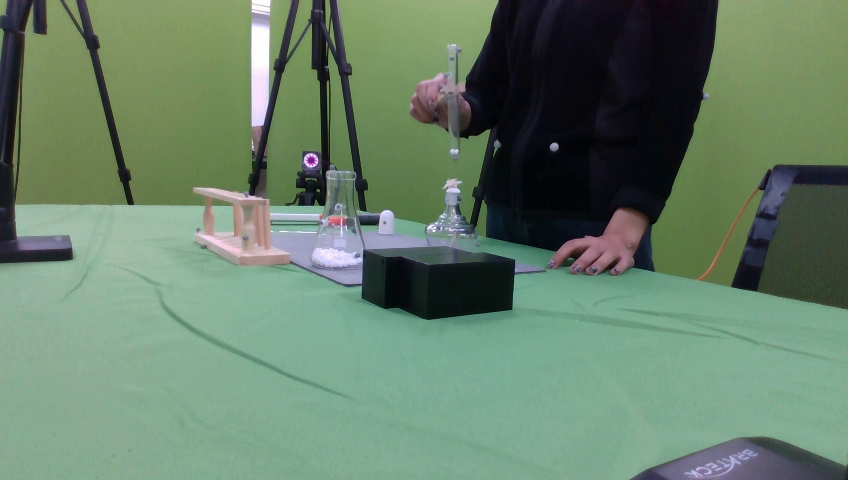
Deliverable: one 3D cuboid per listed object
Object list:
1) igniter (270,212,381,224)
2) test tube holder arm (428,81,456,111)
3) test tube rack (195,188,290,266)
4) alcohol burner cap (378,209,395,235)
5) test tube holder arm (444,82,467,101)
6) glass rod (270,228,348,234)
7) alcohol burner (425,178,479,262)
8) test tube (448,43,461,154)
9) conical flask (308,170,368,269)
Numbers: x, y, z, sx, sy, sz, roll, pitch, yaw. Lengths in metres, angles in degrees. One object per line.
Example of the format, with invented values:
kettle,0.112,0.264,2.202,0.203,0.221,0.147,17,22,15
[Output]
igniter,-0.213,-0.047,1.278,0.278,0.025,0.057,-1,-2,-25
test tube holder arm,0.024,-0.212,0.894,0.013,0.015,0.178,3,3,-11
test tube rack,-0.266,-0.025,0.864,0.067,0.085,0.241,-2,9,-33
alcohol burner cap,-0.070,-0.034,1.144,0.034,0.048,0.034,2,8,0
test tube holder arm,0.040,-0.209,0.852,0.010,0.015,0.087,2,3,-18
glass rod,-0.234,-0.017,1.105,0.201,0.008,0.008,1,6,-26
alcohol burner,0.040,-0.028,0.853,0.078,0.119,0.078,2,9,0
test tube,0.042,-0.194,0.829,0.017,0.150,0.017,-1,3,0
conical flask,-0.107,-0.027,0.762,0.075,0.122,0.075,2,7,0
